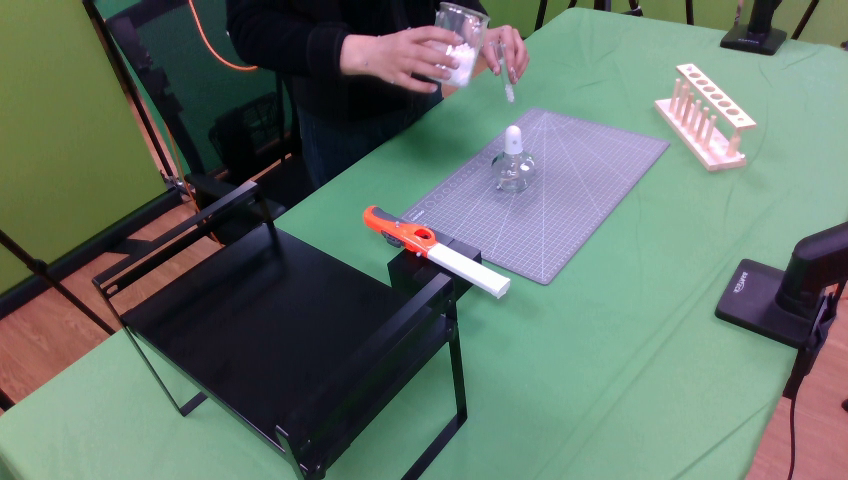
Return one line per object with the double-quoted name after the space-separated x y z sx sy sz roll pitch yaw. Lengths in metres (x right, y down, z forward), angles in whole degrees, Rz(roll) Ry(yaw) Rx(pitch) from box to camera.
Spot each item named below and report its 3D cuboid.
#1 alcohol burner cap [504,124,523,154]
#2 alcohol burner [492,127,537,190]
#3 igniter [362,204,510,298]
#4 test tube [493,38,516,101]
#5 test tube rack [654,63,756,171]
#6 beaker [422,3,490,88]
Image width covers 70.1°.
0.151 -0.173 1.023 0.034 0.048 0.033 -5 38 5 "alcohol burner cap"
0.156 -0.146 1.046 0.078 0.119 0.077 -4 44 4 "alcohol burner"
0.007 0.009 0.887 0.274 0.025 0.057 29 50 32 "igniter"
0.142 -0.295 1.061 0.017 0.151 0.017 -8 61 15 "test tube"
0.511 -0.233 1.120 0.067 0.085 0.241 -8 41 -1 "test tube rack"
0.044 -0.273 0.856 0.073 0.100 0.084 28 20 29 "beaker"
